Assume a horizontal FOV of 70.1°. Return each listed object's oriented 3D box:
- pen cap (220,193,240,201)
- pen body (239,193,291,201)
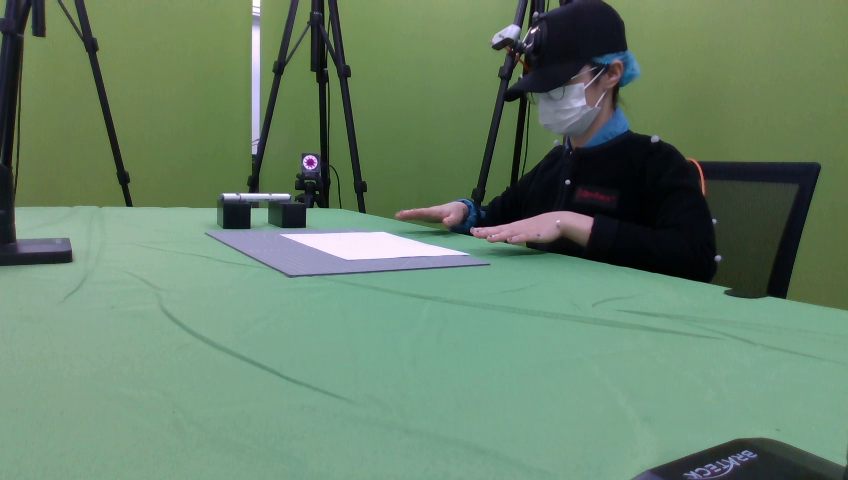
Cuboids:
[{"bbox_3d":[-0.383,-0.085,1.194,0.039,0.017,0.017,-5,10,-44],"label":"pen cap"},{"bbox_3d":[-0.337,-0.089,1.236,0.145,0.017,0.017,-5,10,-43],"label":"pen body"}]
